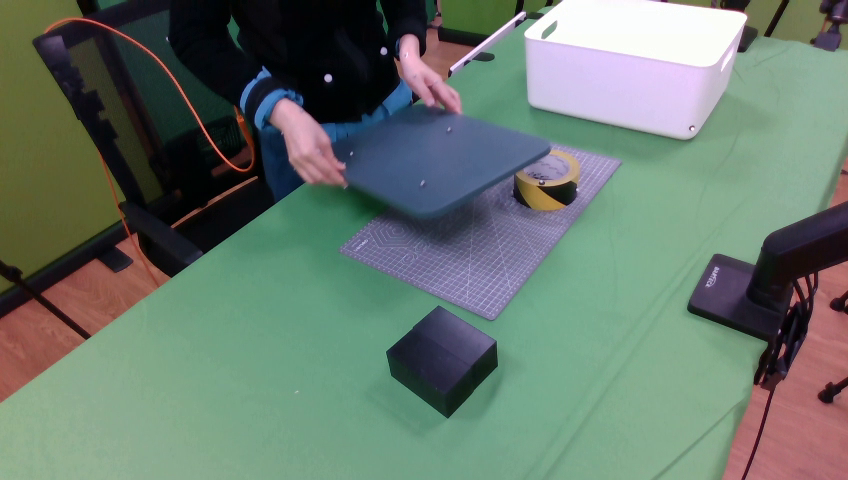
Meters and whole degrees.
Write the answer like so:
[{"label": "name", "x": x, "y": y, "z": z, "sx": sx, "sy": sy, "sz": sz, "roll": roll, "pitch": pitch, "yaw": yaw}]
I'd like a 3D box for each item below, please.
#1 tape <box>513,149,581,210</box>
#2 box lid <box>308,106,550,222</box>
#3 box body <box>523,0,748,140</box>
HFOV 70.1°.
[{"label": "tape", "x": 0.208, "y": -0.104, "z": 1.032, "sx": 0.117, "sy": 0.053, "sz": 0.116, "roll": -4, "pitch": 40, "yaw": 4}, {"label": "box lid", "x": -0.005, "y": -0.139, "z": 0.994, "sx": 0.264, "sy": 0.015, "sz": 0.368, "roll": -31, "pitch": 36, "yaw": -25}, {"label": "box body", "x": 0.412, "y": -0.354, "z": 1.212, "sx": 0.361, "sy": 0.161, "sz": 0.254, "roll": 20, "pitch": 48, "yaw": 29}]
